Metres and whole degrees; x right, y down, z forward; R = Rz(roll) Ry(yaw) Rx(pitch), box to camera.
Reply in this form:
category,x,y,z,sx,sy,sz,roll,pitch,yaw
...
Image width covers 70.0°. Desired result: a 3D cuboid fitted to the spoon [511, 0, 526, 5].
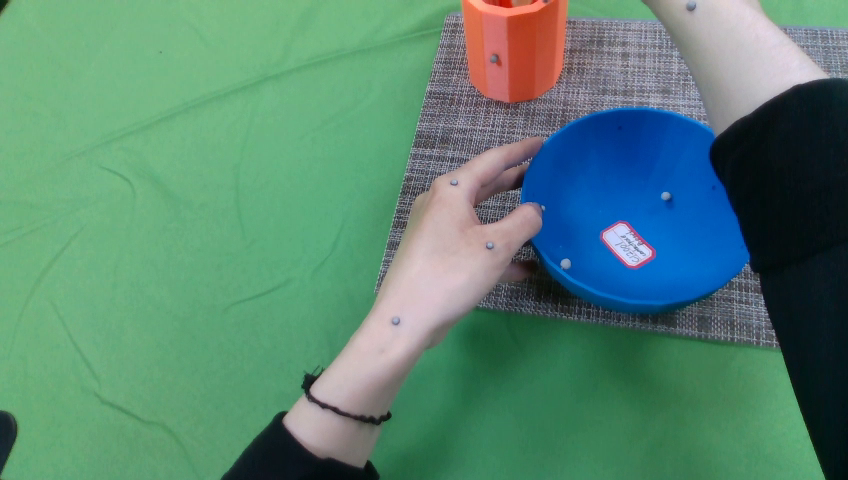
category,x,y,z,sx,sy,sz,roll,pitch,yaw
spoon,0.085,-0.224,0.414,0.021,0.194,0.041,11,79,1

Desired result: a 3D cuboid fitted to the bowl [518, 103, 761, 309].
category,x,y,z,sx,sy,sz,roll,pitch,yaw
bowl,0.141,-0.012,0.422,0.151,0.077,0.150,-3,62,7

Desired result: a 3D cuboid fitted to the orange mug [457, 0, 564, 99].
category,x,y,z,sx,sy,sz,roll,pitch,yaw
orange mug,0.080,-0.200,0.519,0.083,0.101,0.125,18,71,18
